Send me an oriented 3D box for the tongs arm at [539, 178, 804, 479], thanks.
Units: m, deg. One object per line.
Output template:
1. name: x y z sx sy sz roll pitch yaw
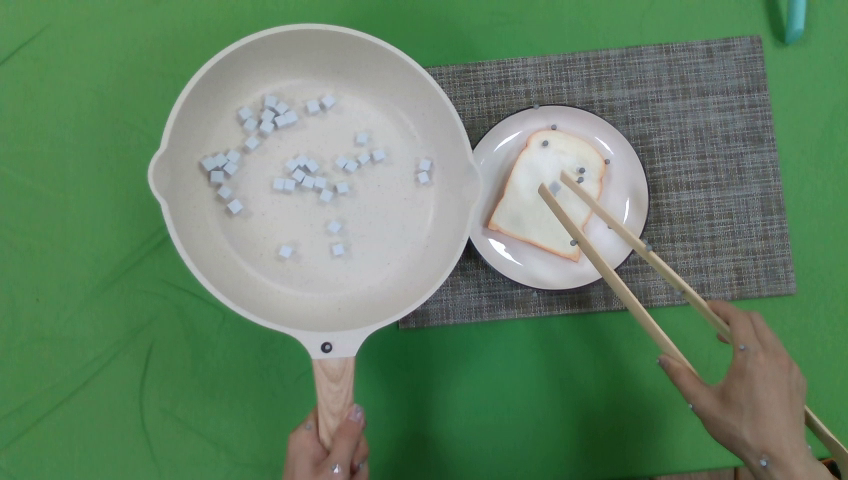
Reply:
1. tongs arm: 0.236 0.084 0.571 0.028 0.028 0.385 -34 73 -12

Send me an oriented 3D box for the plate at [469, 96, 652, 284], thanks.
1. plate: 0.144 -0.054 0.676 0.207 0.039 0.207 0 86 2

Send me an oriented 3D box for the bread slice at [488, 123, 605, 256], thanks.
1. bread slice: 0.140 -0.062 0.679 0.107 0.018 0.134 18 89 2

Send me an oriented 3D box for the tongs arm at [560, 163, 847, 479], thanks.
1. tongs arm: 0.252 0.072 0.574 0.051 0.027 0.382 -40 74 -10

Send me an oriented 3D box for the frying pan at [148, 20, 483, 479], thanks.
1. frying pan: -0.090 0.044 0.571 0.308 0.103 0.486 0 80 -16

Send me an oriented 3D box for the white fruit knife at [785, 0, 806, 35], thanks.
1. white fruit knife: 0.414 -0.338 0.672 0.016 0.027 0.208 -5 100 -1
